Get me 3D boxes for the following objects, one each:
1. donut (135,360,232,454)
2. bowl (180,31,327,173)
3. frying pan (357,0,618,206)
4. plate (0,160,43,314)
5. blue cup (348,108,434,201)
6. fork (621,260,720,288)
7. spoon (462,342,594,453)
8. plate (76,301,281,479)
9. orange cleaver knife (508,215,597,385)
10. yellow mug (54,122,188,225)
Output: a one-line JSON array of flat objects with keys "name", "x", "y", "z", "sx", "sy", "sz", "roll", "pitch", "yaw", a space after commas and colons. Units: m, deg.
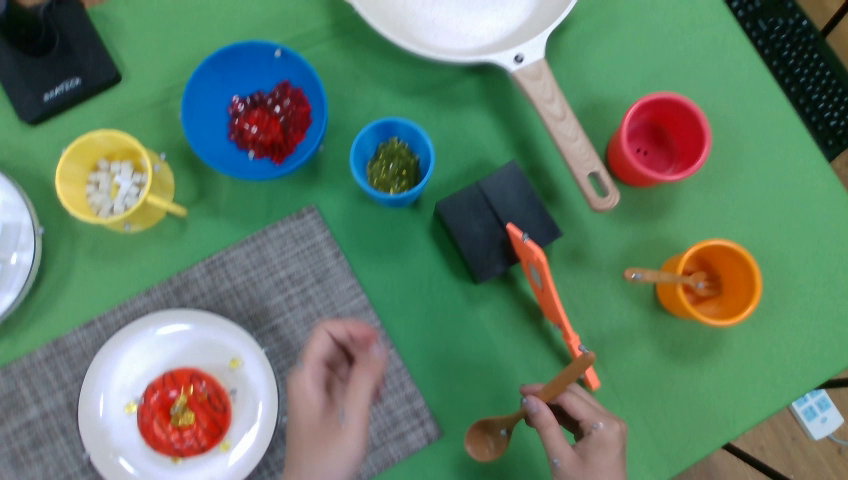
[{"name": "donut", "x": -0.250, "y": 0.174, "z": 0.633, "sx": 0.099, "sy": 0.048, "sz": 0.099, "roll": 0, "pitch": 88, "yaw": -3}, {"name": "bowl", "x": -0.177, "y": -0.140, "z": 0.662, "sx": 0.151, "sy": 0.077, "sz": 0.151, "roll": 0, "pitch": 84, "yaw": -2}, {"name": "frying pan", "x": 0.085, "y": -0.251, "z": 0.670, "sx": 0.307, "sy": 0.103, "sz": 0.485, "roll": -24, "pitch": 78, "yaw": -3}, {"name": "plate", "x": -0.515, "y": 0.001, "z": 0.655, "sx": 0.208, "sy": 0.039, "sz": 0.207, "roll": 0, "pitch": 84, "yaw": -2}, {"name": "blue cup", "x": -0.033, "y": -0.082, "z": 0.649, "sx": 0.093, "sy": 0.100, "sz": 0.092, "roll": 0, "pitch": 82, "yaw": -1}, {"name": "fork", "x": 0.260, "y": 0.034, "z": 0.625, "sx": 0.209, "sy": 0.018, "sz": 0.028, "roll": 7, "pitch": 81, "yaw": -45}, {"name": "spoon", "x": 0.093, "y": 0.150, "z": 0.561, "sx": 0.041, "sy": 0.194, "sz": 0.021, "roll": 46, "pitch": 42, "yaw": 9}, {"name": "plate", "x": -0.256, "y": 0.168, "z": 0.644, "sx": 0.209, "sy": 0.038, "sz": 0.208, "roll": 0, "pitch": 85, "yaw": -2}, {"name": "orange cleaver knife", "x": 0.138, "y": 0.067, "z": 0.651, "sx": 0.012, "sy": 0.076, "sz": 0.213, "roll": -29, "pitch": 115, "yaw": -4}, {"name": "yellow mug", "x": -0.317, "y": -0.063, "z": 0.655, "sx": 0.131, "sy": 0.064, "sz": 0.100, "roll": 24, "pitch": 84, "yaw": 0}]
